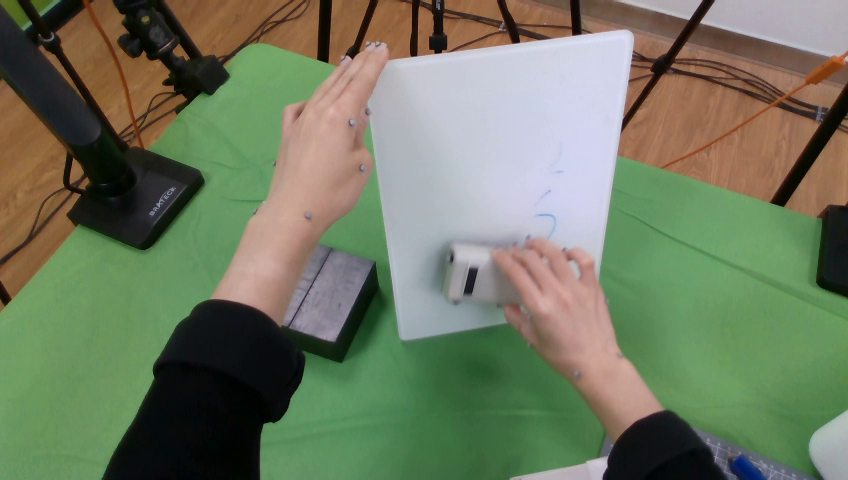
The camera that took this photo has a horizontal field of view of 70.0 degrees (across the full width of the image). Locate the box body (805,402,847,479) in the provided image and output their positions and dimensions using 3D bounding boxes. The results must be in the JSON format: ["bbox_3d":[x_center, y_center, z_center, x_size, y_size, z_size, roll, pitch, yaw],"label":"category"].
[{"bbox_3d":[0.525,0.242,0.456,0.254,0.162,0.360,-20,59,-13],"label":"box body"}]

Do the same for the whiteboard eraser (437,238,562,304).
[{"bbox_3d":[0.071,0.029,0.578,0.113,0.056,0.041,5,29,-17],"label":"whiteboard eraser"}]

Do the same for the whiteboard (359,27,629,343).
[{"bbox_3d":[0.057,-0.069,0.609,0.217,0.308,0.142,-8,38,-5],"label":"whiteboard"}]

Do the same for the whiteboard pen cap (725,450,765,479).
[{"bbox_3d":[0.297,0.212,0.559,0.018,0.018,0.033,-30,61,-18],"label":"whiteboard pen cap"}]

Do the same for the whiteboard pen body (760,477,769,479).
[{"bbox_3d":[0.331,0.250,0.531,0.017,0.017,0.139,-31,60,-18],"label":"whiteboard pen body"}]

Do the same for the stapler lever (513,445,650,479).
[{"bbox_3d":[0.139,0.206,0.531,0.118,0.040,0.026,-10,53,-3],"label":"stapler lever"}]

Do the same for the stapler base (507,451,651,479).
[{"bbox_3d":[0.142,0.219,0.552,0.130,0.024,0.041,-11,53,-3],"label":"stapler base"}]
